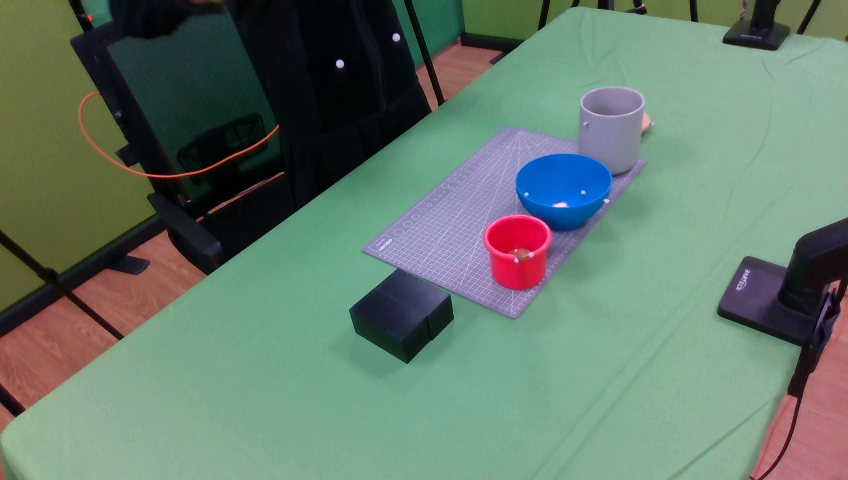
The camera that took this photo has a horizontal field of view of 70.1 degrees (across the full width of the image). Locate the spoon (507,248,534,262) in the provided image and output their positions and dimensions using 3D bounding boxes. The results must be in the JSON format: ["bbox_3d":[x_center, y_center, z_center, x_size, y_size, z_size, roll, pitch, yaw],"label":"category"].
[{"bbox_3d":[0.135,0.020,0.835,0.041,0.021,0.194,-2,-4,8],"label":"spoon"}]

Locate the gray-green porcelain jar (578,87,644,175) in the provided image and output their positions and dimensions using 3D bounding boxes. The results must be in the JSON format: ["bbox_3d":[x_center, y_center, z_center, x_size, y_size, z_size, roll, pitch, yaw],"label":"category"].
[{"bbox_3d":[0.324,-0.185,1.055,0.106,0.127,0.105,-5,40,5],"label":"gray-green porcelain jar"}]

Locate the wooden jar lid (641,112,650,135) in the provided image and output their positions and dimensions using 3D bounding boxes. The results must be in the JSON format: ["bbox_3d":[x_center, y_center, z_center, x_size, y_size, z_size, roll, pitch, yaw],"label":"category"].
[{"bbox_3d":[0.382,-0.225,1.178,0.108,0.021,0.108,-5,40,4],"label":"wooden jar lid"}]

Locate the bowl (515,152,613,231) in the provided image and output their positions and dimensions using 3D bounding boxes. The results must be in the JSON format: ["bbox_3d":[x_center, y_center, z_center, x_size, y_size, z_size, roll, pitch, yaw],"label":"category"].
[{"bbox_3d":[0.225,-0.068,0.972,0.151,0.077,0.150,-5,40,5],"label":"bowl"}]
